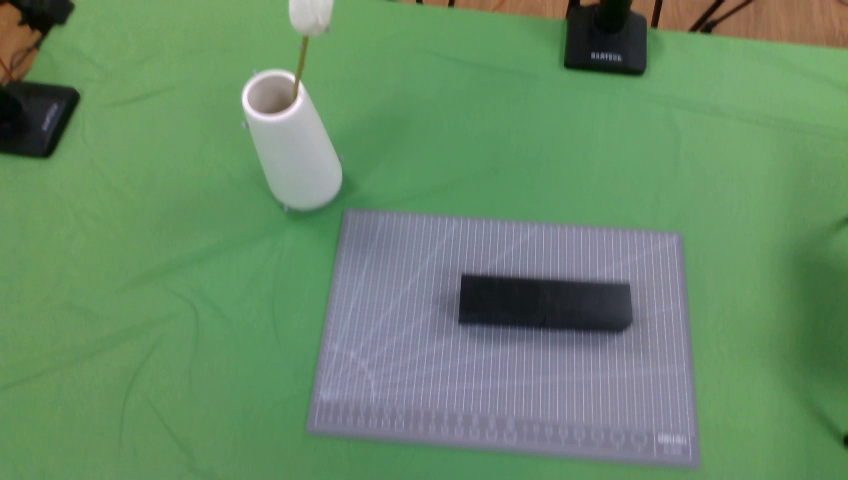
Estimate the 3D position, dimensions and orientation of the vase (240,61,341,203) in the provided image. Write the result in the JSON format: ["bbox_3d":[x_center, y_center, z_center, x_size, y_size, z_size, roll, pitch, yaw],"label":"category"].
[{"bbox_3d":[-0.162,-0.128,0.747,0.098,0.201,0.097,0,65,1],"label":"vase"}]

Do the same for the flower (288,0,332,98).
[{"bbox_3d":[-0.147,-0.163,0.672,0.038,0.362,0.044,25,61,-8],"label":"flower"}]
